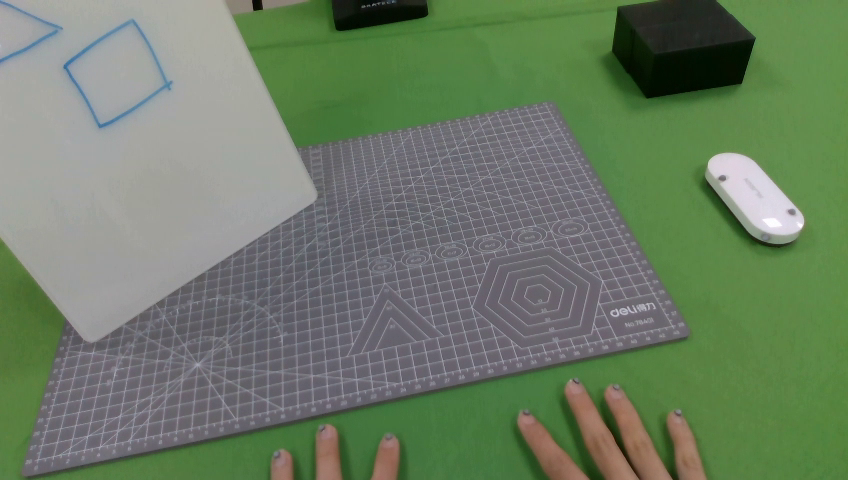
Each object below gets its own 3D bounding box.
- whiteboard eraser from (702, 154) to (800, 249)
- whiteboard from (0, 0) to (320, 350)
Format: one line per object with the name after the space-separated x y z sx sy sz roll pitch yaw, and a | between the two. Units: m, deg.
0.262 -0.035 0.490 0.041 0.019 0.100 -10 47 -4 | whiteboard eraser
-0.259 -0.115 0.471 0.217 0.308 0.142 -37 33 -25 | whiteboard
